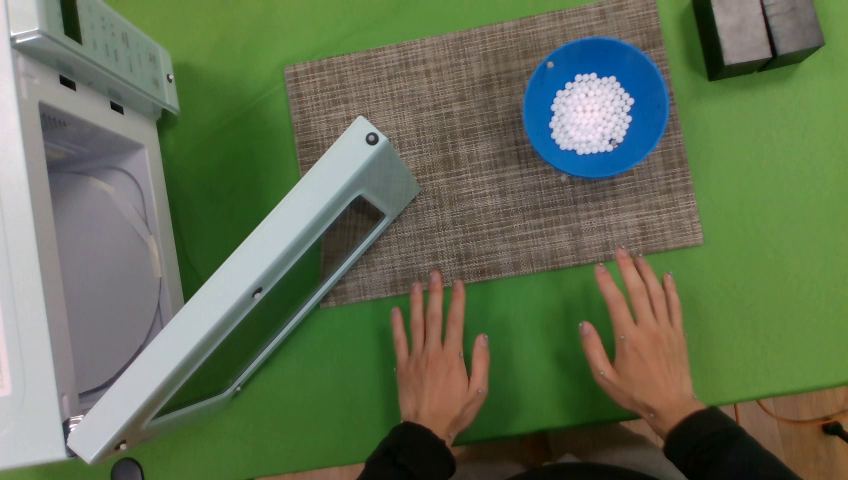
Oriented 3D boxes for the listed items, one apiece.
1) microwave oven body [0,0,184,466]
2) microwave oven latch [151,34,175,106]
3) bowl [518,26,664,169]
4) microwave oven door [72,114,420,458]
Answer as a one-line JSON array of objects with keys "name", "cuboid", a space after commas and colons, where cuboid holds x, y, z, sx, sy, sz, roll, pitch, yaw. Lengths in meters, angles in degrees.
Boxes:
[{"name": "microwave oven body", "cuboid": [-0.444, -0.007, 0.631, 0.326, 0.260, 0.441, -12, 86, 4]}, {"name": "microwave oven latch", "cuboid": [-0.324, -0.203, 0.726, 0.030, 0.029, 0.079, -12, 87, 4]}, {"name": "bowl", "cuboid": [0.178, -0.147, 0.669, 0.151, 0.077, 0.151, 0, 87, 6]}, {"name": "microwave oven door", "cuboid": [-0.147, 0.044, 0.595, 0.039, 0.244, 0.356, 42, 91, 8]}]
